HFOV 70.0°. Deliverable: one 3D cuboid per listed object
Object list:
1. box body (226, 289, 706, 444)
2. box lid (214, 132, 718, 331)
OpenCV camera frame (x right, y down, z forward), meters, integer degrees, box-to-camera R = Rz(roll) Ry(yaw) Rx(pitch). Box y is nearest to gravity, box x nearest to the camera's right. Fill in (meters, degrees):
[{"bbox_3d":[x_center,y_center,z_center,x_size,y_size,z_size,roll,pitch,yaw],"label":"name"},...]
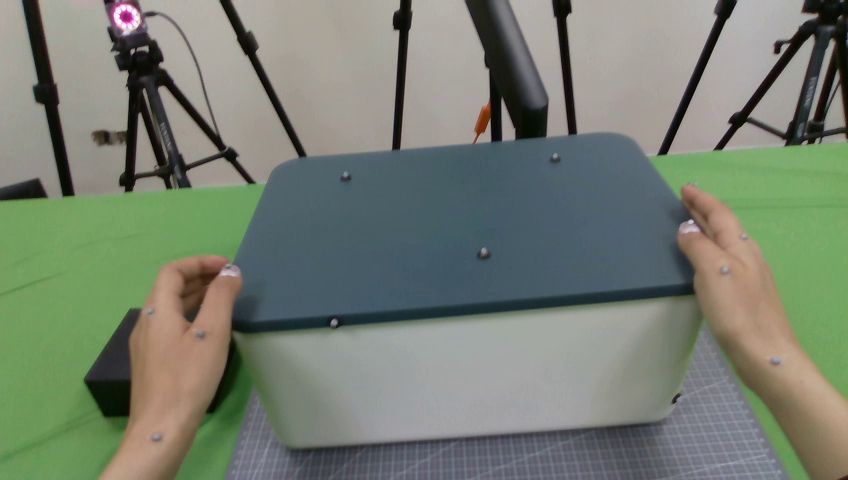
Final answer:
[{"bbox_3d":[0.033,0.038,0.568,0.364,0.162,0.251,-5,34,1],"label":"box body"},{"bbox_3d":[0.025,-0.023,0.526,0.371,0.015,0.260,-5,33,1],"label":"box lid"}]
